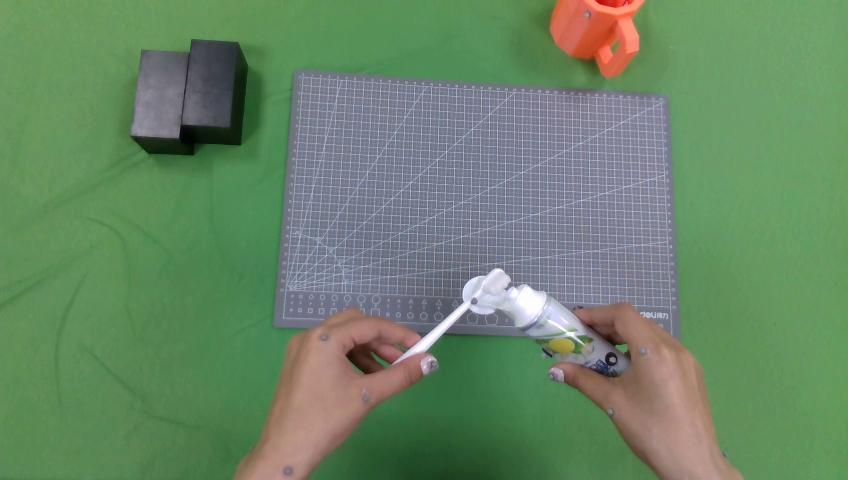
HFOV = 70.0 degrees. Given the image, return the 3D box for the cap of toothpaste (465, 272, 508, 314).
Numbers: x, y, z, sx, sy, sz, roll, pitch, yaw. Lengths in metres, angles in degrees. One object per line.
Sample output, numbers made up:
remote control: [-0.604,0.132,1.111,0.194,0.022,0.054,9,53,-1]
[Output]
cap of toothpaste: [0.050,0.041,0.482,0.037,0.011,0.037,-1,63,3]

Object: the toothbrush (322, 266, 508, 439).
toothbrush: [-0.004,0.083,0.452,0.182,0.016,0.015,-42,120,-11]

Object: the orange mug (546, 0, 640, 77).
orange mug: [0.204,-0.259,0.705,0.083,0.101,0.125,-19,76,-8]

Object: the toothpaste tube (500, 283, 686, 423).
toothpaste tube: [0.125,0.090,0.475,0.165,0.055,0.034,38,46,-9]
